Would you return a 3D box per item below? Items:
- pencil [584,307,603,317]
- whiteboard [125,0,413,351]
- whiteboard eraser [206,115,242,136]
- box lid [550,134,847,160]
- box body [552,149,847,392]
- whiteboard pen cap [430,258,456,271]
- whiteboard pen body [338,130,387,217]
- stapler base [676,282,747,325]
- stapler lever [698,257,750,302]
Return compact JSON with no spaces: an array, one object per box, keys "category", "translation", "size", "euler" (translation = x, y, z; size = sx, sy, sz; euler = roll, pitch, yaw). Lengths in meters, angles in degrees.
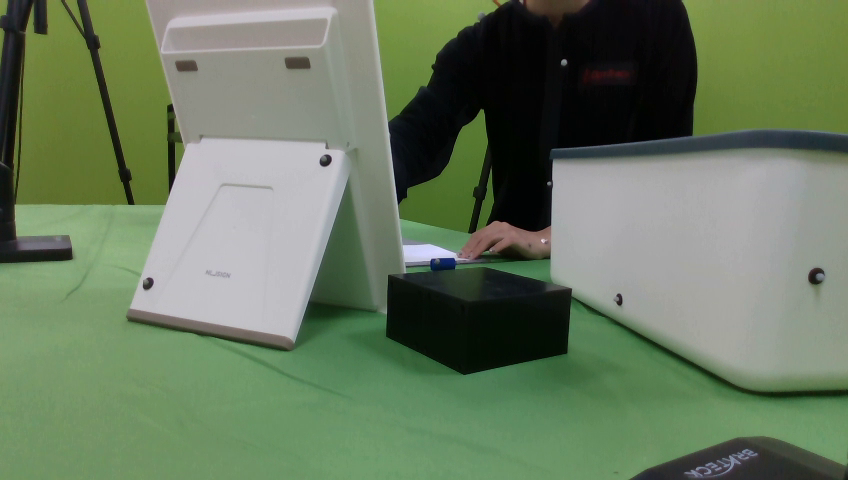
[{"category":"pencil","translation":[0.250,0.055,0.656],"size":[0.195,0.012,0.012],"euler":[-13,14,-26]},{"category":"whiteboard","translation":[-0.151,-0.050,0.471],"size":[0.216,0.305,0.144],"euler":[6,27,25]},{"category":"whiteboard eraser","translation":[-0.438,-0.249,1.320],"size":[0.056,0.042,0.112],"euler":[-3,9,-30]},{"category":"box lid","translation":[0.294,-0.071,0.538],"size":[0.264,0.015,0.370],"euler":[2,6,-10]},{"category":"box body","translation":[0.290,0.002,0.549],"size":[0.255,0.160,0.363],"euler":[2,7,-10]},{"category":"whiteboard pen cap","translation":[0.024,0.031,0.791],"size":[0.033,0.018,0.018],"euler":[1,8,-12]},{"category":"whiteboard pen body","translation":[-0.060,-0.066,0.585],"size":[0.017,0.017,0.140],"euler":[4,41,13]},{"category":"stapler base","translation":[0.283,0.057,0.585],"size":[0.041,0.024,0.131],"euler":[30,18,34]},{"category":"stapler lever","translation":[0.290,0.035,0.580],"size":[0.026,0.040,0.119],"euler":[30,19,34]}]
